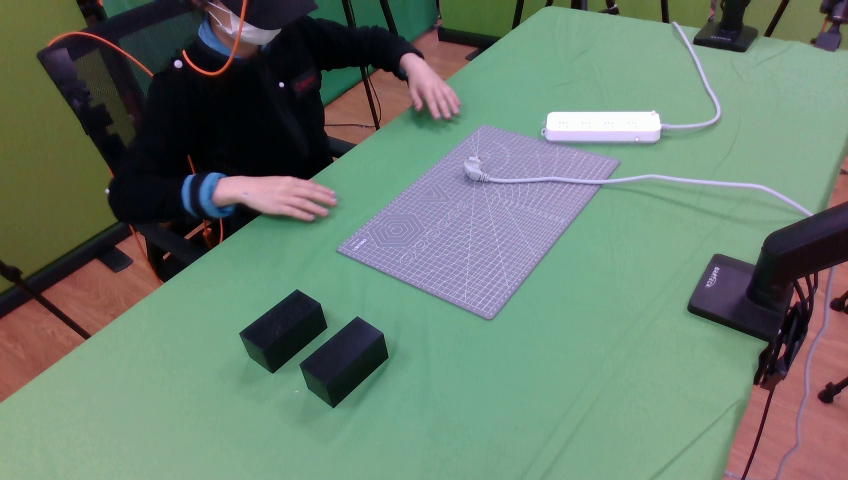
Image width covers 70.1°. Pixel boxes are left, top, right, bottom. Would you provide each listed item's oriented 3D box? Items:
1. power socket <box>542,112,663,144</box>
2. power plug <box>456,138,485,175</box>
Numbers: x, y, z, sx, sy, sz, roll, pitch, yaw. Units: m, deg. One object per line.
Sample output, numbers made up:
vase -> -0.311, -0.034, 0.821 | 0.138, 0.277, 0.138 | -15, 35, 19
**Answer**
power socket -> 0.342, -0.216, 1.164 | 0.226, 0.033, 0.072 | 3, 43, 12
power plug -> 0.080, -0.152, 1.087 | 0.052, 0.073, 0.035 | -15, 16, 46
